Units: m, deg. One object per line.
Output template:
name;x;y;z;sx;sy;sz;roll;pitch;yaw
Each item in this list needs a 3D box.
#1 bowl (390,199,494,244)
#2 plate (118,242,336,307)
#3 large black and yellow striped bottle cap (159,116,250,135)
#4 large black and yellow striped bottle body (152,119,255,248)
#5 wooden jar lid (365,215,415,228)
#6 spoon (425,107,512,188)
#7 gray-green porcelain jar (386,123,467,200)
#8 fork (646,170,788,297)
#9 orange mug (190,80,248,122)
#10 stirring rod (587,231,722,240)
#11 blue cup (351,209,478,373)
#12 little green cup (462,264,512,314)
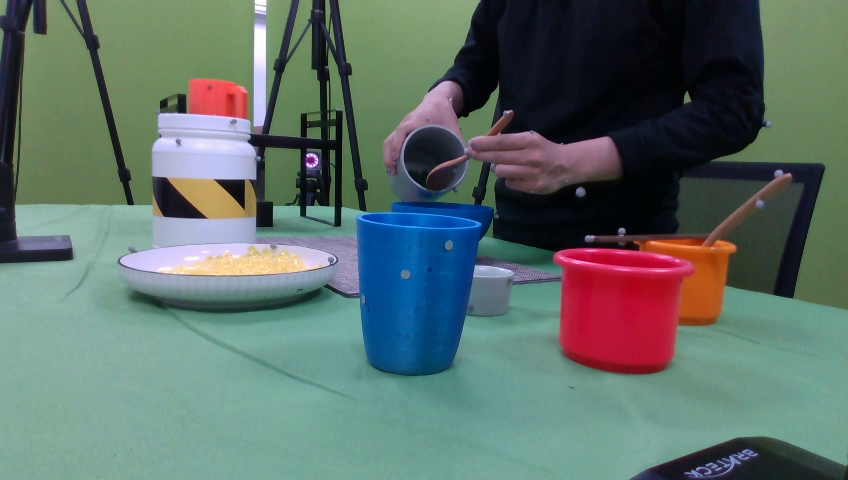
bowl;0.024;-0.015;0.871;0.151;0.077;0.151;3;7;0
plate;-0.194;0.033;0.615;0.209;0.038;0.209;2;7;0
large black and yellow striped bottle cap;-0.292;-0.153;0.810;0.115;0.019;0.115;3;9;0
large black and yellow striped bottle body;-0.296;-0.070;0.819;0.131;0.184;0.130;2;7;0
wooden jar lid;-0.073;-0.040;1.291;0.108;0.020;0.108;3;8;0
spoon;0.060;-0.122;0.824;0.042;0.021;0.193;0;-21;-35
gray-green porcelain jar;-0.001;-0.115;0.957;0.106;0.105;0.126;0;-7;-15
fork;0.256;0.004;0.543;0.028;0.018;0.207;3;-36;-9
orange mug;-0.394;-0.257;1.172;0.126;0.100;0.084;1;6;25
stirring rod;0.227;-0.005;0.586;0.177;0.006;0.014;-1;6;-28
blue cup;-0.009;0.034;0.414;0.093;0.100;0.092;3;9;0
little green cup;0.053;0.047;0.580;0.061;0.038;0.061;3;8;0
